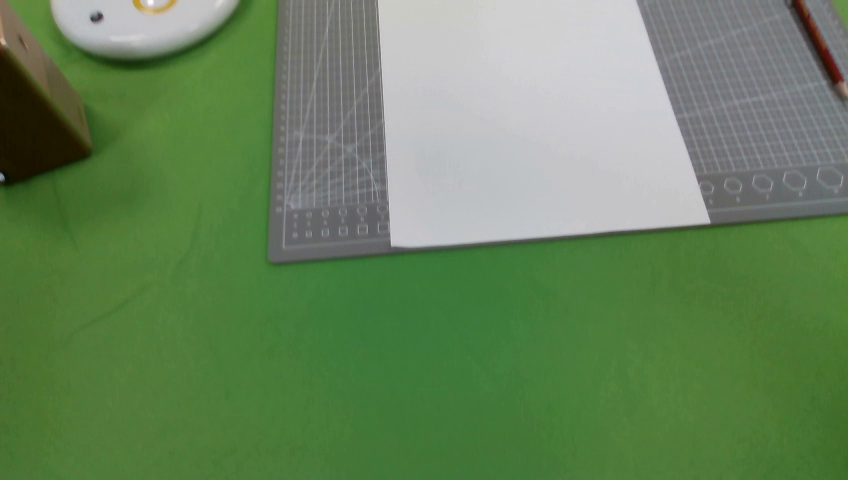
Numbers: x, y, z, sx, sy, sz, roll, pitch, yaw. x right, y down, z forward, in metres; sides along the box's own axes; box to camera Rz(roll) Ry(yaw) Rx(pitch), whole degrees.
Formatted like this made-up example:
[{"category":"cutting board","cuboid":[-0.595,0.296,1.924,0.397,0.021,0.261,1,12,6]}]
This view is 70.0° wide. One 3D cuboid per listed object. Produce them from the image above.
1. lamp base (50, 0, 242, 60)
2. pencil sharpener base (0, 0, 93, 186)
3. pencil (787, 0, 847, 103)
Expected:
[{"category":"lamp base","cuboid":[-0.241,-0.258,0.449,0.160,0.182,0.177,-33,63,-15]},{"category":"pencil sharpener base","cuboid":[-0.287,-0.095,0.403,0.077,0.108,0.061,-23,63,-10]},{"category":"pencil","cuboid":[0.301,-0.182,0.484,0.012,0.012,0.192,-6,63,-1]}]
